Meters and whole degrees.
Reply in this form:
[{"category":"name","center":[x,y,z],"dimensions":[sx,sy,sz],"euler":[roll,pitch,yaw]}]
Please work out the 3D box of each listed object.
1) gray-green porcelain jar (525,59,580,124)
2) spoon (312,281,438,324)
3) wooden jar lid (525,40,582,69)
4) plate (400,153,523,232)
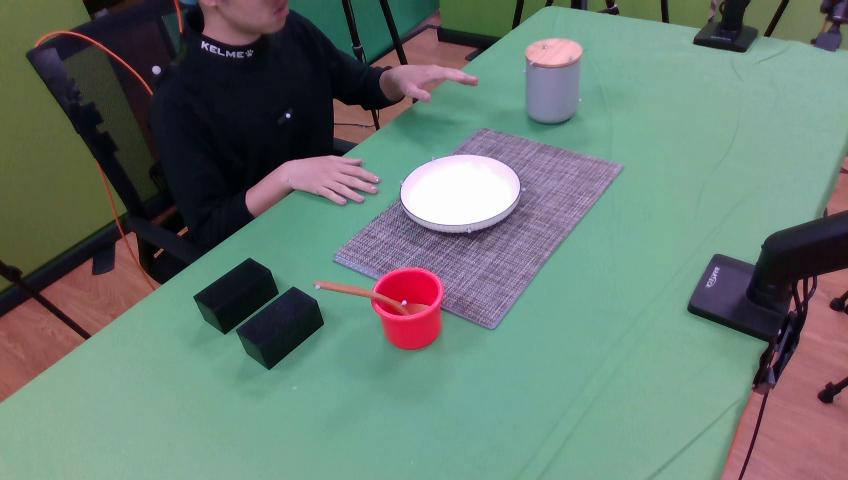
[{"category":"gray-green porcelain jar","center":[0.256,-0.305,1.209],"dimensions":[0.106,0.127,0.105],"euler":[-4,41,4]},{"category":"spoon","center":[-0.060,0.078,0.793],"dimensions":[0.195,0.021,0.041],"euler":[24,24,-35]},{"category":"wooden jar lid","center":[0.249,-0.354,1.167],"dimensions":[0.108,0.021,0.108],"euler":[-4,44,5]},{"category":"plate","center":[0.065,-0.078,1.034],"dimensions":[0.207,0.039,0.206],"euler":[-4,41,4]}]
